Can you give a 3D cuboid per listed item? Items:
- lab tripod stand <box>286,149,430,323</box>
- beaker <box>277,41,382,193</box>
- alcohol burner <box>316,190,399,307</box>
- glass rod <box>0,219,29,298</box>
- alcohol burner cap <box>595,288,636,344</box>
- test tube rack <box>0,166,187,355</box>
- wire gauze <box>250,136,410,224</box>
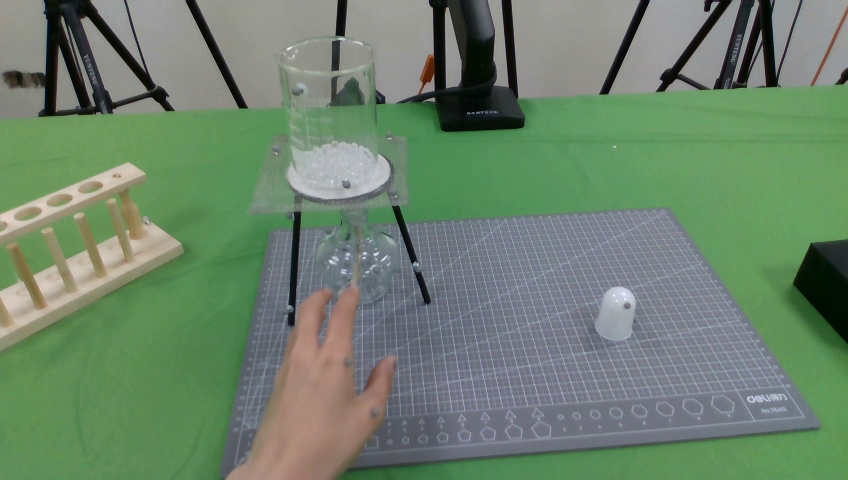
[{"bbox_3d":[-0.065,-0.004,0.546,0.148,0.132,0.147,1,36,0],"label":"lab tripod stand"},{"bbox_3d":[-0.074,-0.095,0.476,0.083,0.101,0.074,22,42,24],"label":"beaker"},{"bbox_3d":[-0.061,0.003,0.553,0.078,0.120,0.077,1,39,0],"label":"alcohol burner"},{"bbox_3d":[-0.376,-0.033,0.522,0.008,0.201,0.008,0,30,0],"label":"glass rod"},{"bbox_3d":[0.170,0.064,0.530,0.034,0.048,0.033,0,38,0],"label":"alcohol burner cap"},{"bbox_3d":[-0.353,0.026,0.554,0.066,0.086,0.242,27,45,32],"label":"test tube rack"},{"bbox_3d":[-0.073,-0.055,0.504,0.121,0.011,0.124,-2,39,-2],"label":"wire gauze"}]
